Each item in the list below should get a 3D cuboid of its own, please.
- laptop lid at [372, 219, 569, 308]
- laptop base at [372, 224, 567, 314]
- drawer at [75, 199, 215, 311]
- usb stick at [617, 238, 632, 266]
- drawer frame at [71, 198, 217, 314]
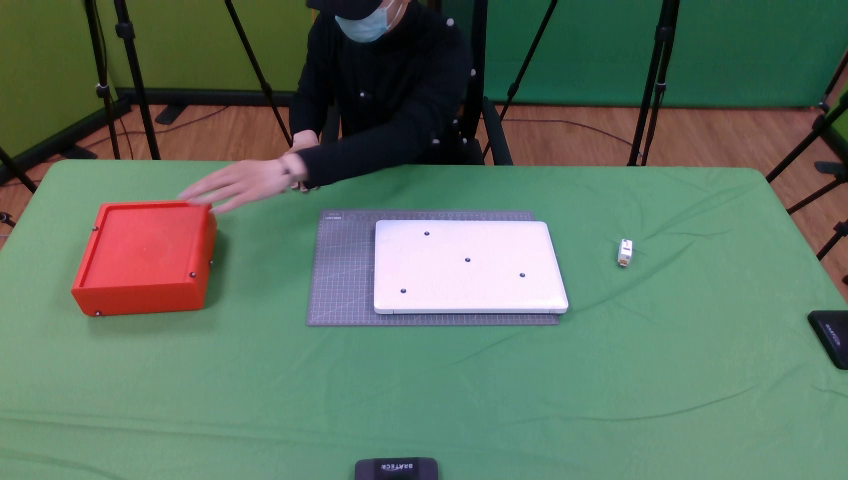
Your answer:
[{"bbox_3d":[0.081,0.039,1.152,0.357,0.013,0.240,1,44,-3],"label":"laptop lid"},{"bbox_3d":[0.080,0.049,1.158,0.355,0.023,0.234,0,43,-4],"label":"laptop base"},{"bbox_3d":[-0.494,0.023,1.098,0.195,0.073,0.210,-3,47,-8],"label":"drawer"},{"bbox_3d":[0.397,0.025,1.200,0.021,0.027,0.059,16,50,9],"label":"usb stick"},{"bbox_3d":[-0.493,0.023,1.096,0.202,0.083,0.212,-3,47,-8],"label":"drawer frame"}]
